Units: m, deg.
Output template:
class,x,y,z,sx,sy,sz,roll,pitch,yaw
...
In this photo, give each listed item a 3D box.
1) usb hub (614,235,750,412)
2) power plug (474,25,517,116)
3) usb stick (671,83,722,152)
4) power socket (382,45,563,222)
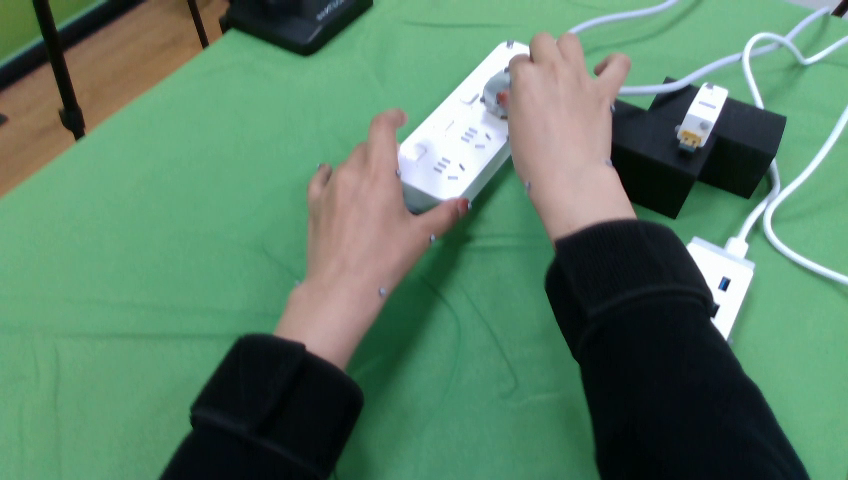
class,x,y,z,sx,sy,sz,roll,pitch,yaw
usb hub,0.179,0.053,0.415,0.049,0.025,0.125,27,57,21
power plug,0.063,-0.138,0.516,0.035,0.053,0.072,18,55,-5
usb stick,0.206,-0.092,0.462,0.021,0.027,0.059,26,59,17
power socket,0.047,-0.100,0.526,0.072,0.033,0.226,28,56,19
